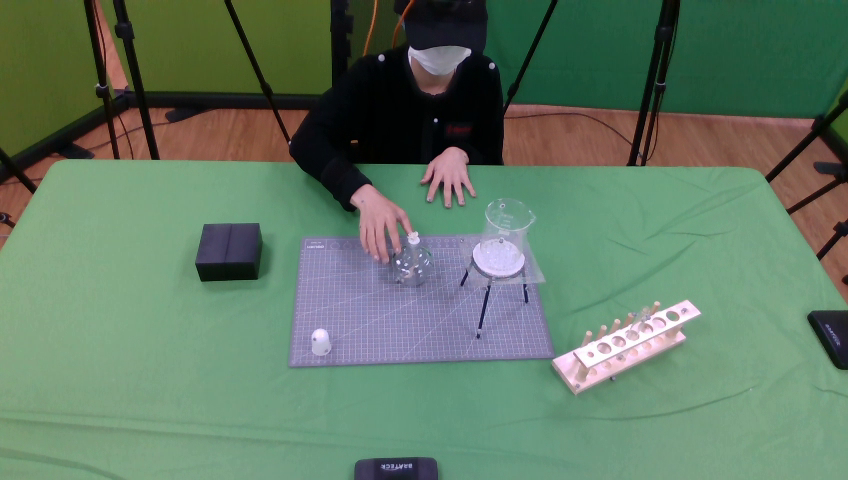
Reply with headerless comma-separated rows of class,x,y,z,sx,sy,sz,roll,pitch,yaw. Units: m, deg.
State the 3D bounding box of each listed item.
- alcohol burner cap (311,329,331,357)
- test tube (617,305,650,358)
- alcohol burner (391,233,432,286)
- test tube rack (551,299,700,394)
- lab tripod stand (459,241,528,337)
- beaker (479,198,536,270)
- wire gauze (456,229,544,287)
alcohol burner cap,-0.173,0.168,1.004,0.034,0.048,0.033,2,46,-2
test tube,0.333,0.149,0.967,0.017,0.151,0.017,0,52,1
alcohol burner,-0.022,0.028,1.103,0.078,0.119,0.077,3,48,-3
test tube rack,0.339,0.166,1.021,0.242,0.085,0.066,-19,50,-21
lab tripod stand,0.122,0.075,1.054,0.148,0.132,0.147,3,44,-3
beaker,0.131,-0.007,0.975,0.084,0.101,0.073,2,46,-3
wire gauze,0.125,0.030,1.008,0.125,0.011,0.120,-2,48,-11
